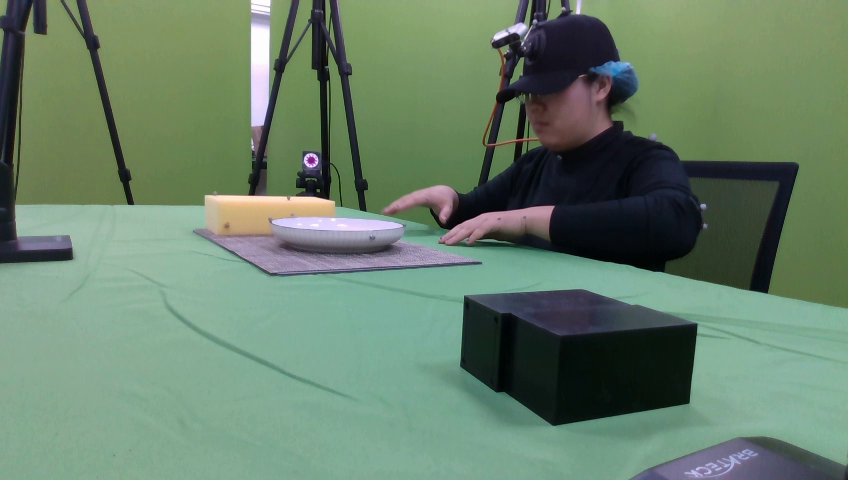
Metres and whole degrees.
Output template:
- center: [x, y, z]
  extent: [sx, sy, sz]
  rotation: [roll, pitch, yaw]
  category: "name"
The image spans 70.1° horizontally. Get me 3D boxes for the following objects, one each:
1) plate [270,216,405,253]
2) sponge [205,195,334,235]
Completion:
- center: [-0.134, -0.010, 0.946]
  extent: [0.208, 0.039, 0.207]
  rotation: [3, 7, 0]
  category: "plate"
- center: [-0.280, -0.047, 1.097]
  extent: [0.208, 0.061, 0.117]
  rotation: [-2, 9, -30]
  category: "sponge"
